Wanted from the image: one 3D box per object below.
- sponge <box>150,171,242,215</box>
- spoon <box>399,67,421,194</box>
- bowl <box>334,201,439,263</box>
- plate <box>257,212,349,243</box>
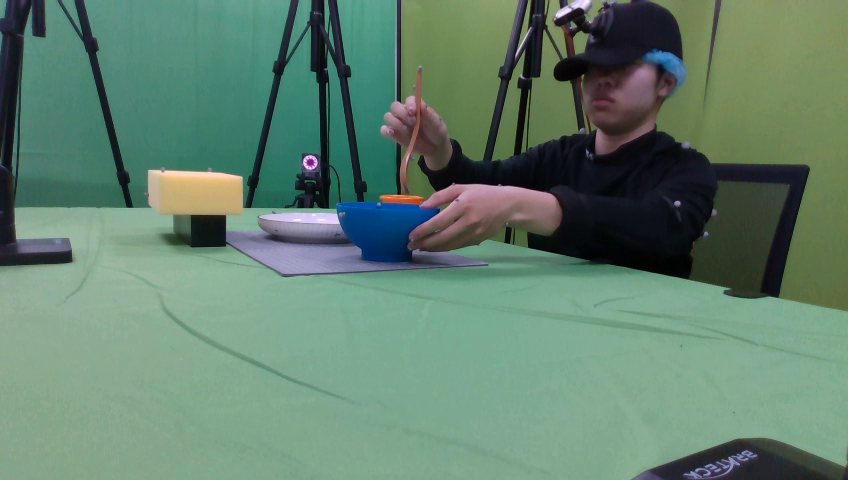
[{"bbox_3d":[-0.379,-0.079,0.994,0.119,0.061,0.206,-1,8,-29],"label":"sponge"},{"bbox_3d":[-0.018,-0.167,0.933,0.021,0.193,0.041,10,5,2],"label":"spoon"},{"bbox_3d":[-0.054,-0.012,0.871,0.151,0.077,0.151,2,7,0],"label":"bowl"},{"bbox_3d":[-0.189,-0.023,1.072,0.209,0.038,0.209,3,7,0],"label":"plate"}]
